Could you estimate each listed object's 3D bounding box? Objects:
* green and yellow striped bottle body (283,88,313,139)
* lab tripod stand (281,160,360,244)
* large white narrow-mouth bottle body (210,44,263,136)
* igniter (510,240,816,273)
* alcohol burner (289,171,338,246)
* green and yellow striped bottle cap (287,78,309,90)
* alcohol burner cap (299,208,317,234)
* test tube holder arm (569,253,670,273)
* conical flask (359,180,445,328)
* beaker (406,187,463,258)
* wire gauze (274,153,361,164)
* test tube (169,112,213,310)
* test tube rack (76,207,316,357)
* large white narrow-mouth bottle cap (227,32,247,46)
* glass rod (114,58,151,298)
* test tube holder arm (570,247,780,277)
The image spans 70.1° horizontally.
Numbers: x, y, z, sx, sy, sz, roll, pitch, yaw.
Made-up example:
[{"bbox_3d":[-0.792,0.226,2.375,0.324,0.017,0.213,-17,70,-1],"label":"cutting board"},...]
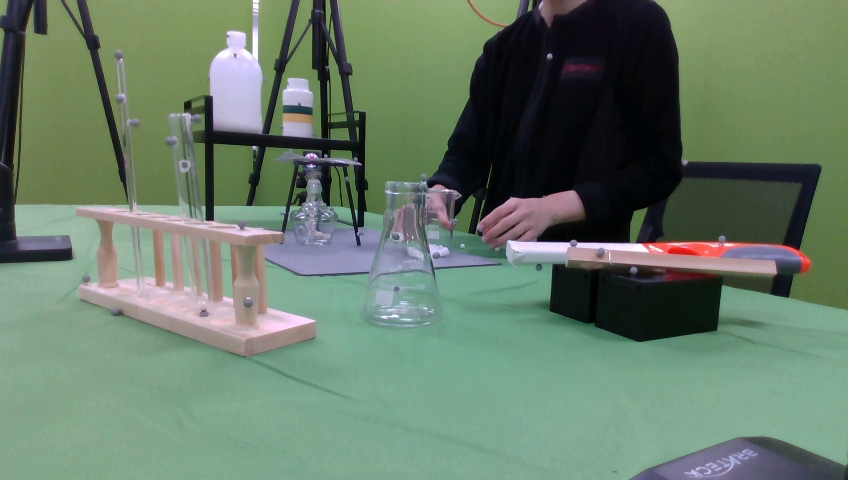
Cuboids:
[{"bbox_3d":[-0.266,-0.275,1.275,0.063,0.119,0.063,3,7,0],"label":"green and yellow striped bottle body"},{"bbox_3d":[-0.170,-0.063,0.983,0.148,0.131,0.148,1,6,0],"label":"lab tripod stand"},{"bbox_3d":[-0.369,-0.306,1.194,0.102,0.194,0.102,3,8,0],"label":"large white narrow-mouth bottle body"},{"bbox_3d":[0.220,0.015,0.565,0.277,0.025,0.057,2,16,0],"label":"igniter"},{"bbox_3d":[-0.177,-0.051,0.968,0.078,0.119,0.078,1,6,0],"label":"alcohol burner"},{"bbox_3d":[-0.265,-0.326,1.268,0.045,0.020,0.045,4,6,0],"label":"green and yellow striped bottle cap"},{"bbox_3d":[-0.213,-0.035,1.110,0.034,0.048,0.034,2,7,0],"label":"alcohol burner cap"},{"bbox_3d":[0.172,0.019,0.532,0.088,0.015,0.010,3,-23,3],"label":"test tube holder arm"},{"bbox_3d":[-0.017,0.010,0.522,0.075,0.122,0.075,2,8,0],"label":"conical flask"},{"bbox_3d":[0.013,-0.027,0.893,0.084,0.100,0.074,3,8,-2],"label":"beaker"},{"bbox_3d":[-0.175,-0.130,0.978,0.125,0.011,0.121,1,6,-19],"label":"wire gauze"},{"bbox_3d":[-0.175,-0.020,0.455,0.017,0.150,0.017,-3,9,1],"label":"test tube"},{"bbox_3d":[-0.196,0.023,0.500,0.241,0.085,0.067,8,9,36],"label":"test tube rack"},{"bbox_3d":[-0.364,-0.390,1.180,0.038,0.024,0.037,3,8,0],"label":"large white narrow-mouth bottle cap"},{"bbox_3d":[-0.236,-0.044,0.492,0.008,0.199,0.008,0,15,0],"label":"glass rod"},{"bbox_3d":[0.217,0.019,0.525,0.178,0.015,0.013,3,-23,3],"label":"test tube holder arm"}]
